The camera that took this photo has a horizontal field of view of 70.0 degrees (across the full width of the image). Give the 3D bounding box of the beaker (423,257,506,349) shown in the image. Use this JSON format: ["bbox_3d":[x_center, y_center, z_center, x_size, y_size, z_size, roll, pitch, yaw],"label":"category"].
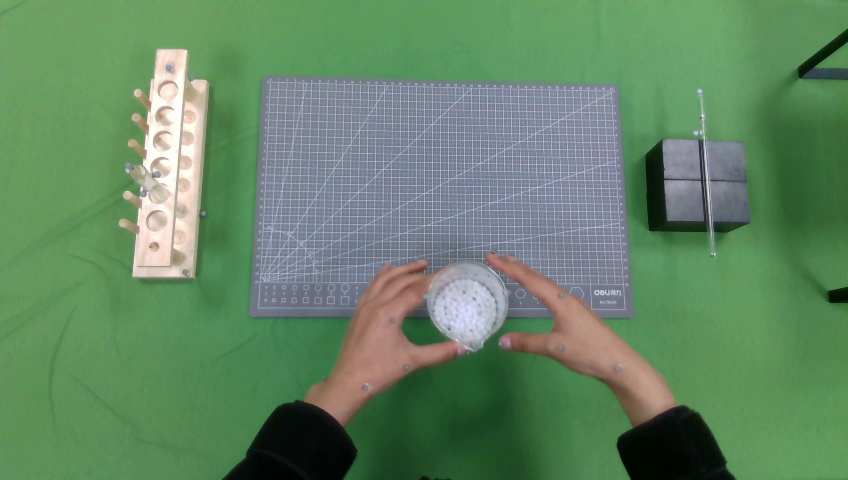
[{"bbox_3d":[0.040,0.066,0.593,0.074,0.100,0.083,-8,78,1],"label":"beaker"}]

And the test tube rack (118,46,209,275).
[{"bbox_3d":[-0.296,-0.086,0.681,0.067,0.085,0.241,1,78,-3],"label":"test tube rack"}]

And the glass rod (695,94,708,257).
[{"bbox_3d":[0.326,-0.078,0.711,0.008,0.008,0.199,3,79,-3],"label":"glass rod"}]

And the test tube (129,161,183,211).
[{"bbox_3d":[-0.273,-0.052,0.625,0.017,0.150,0.017,2,79,-9],"label":"test tube"}]
